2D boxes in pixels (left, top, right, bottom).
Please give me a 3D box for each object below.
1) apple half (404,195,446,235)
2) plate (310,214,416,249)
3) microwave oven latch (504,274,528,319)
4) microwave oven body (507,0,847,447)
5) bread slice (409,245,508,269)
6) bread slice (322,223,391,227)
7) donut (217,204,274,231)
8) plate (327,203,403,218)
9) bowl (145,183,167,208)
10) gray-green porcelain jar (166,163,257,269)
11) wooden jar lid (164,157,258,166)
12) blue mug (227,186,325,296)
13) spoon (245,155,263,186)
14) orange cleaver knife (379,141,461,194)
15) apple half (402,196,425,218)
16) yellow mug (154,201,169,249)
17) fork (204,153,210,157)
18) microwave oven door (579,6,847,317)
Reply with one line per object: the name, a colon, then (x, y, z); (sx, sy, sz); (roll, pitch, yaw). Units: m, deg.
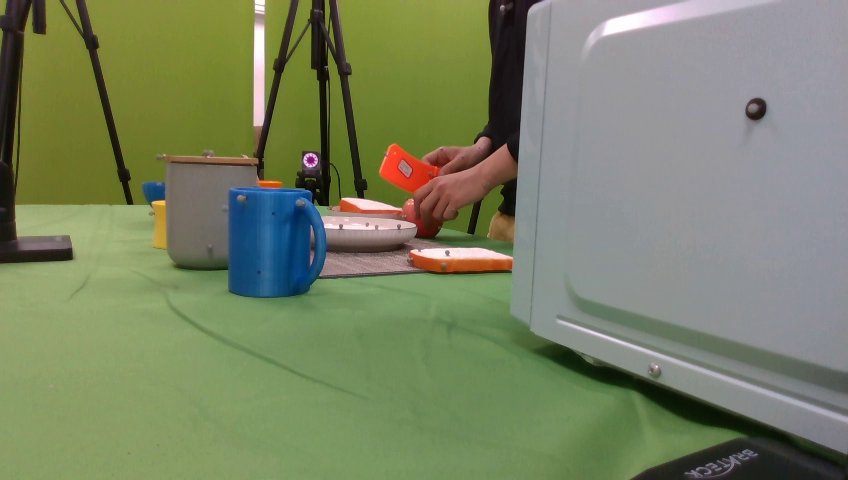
apple half: (0.009, -0.045, 1.136); (0.081, 0.074, 0.053); (-2, 13, -40)
plate: (-0.117, -0.014, 0.967); (0.208, 0.039, 0.207); (2, 7, 0)
microwave oven latch: (0.100, 0.041, 0.470); (0.079, 0.029, 0.030); (-1, 7, -27)
microwave oven body: (0.331, -0.042, 0.425); (0.444, 0.260, 0.324); (-2, 8, -31)
bread slice: (0.048, 0.021, 0.816); (0.132, 0.019, 0.104); (0, 7, -24)
bread slice: (-0.116, -0.014, 0.974); (0.135, 0.018, 0.106); (-5, 11, -42)
donut: (-0.318, -0.038, 1.080); (0.099, 0.048, 0.099); (3, 7, 0)
plate: (-0.102, -0.053, 1.299); (0.209, 0.038, 0.209); (2, 8, 0)
bowl: (-0.459, -0.068, 1.175); (0.151, 0.077, 0.151); (2, 7, 0)
gray-green porcelain jar: (-0.263, -0.031, 0.754); (0.106, 0.126, 0.106); (2, 7, 0)
wooden jar lid: (-0.261, -0.093, 0.746); (0.108, 0.020, 0.108); (0, 9, 0)
blue mug: (-0.146, 0.000, 0.618); (0.116, 0.106, 0.083); (7, 9, 32)
spoon: (-0.421, -0.150, 1.540); (0.042, 0.021, 0.193); (-5, 55, -37)
orange cleaver knife: (-0.003, -0.128, 1.148); (0.012, 0.077, 0.212); (4, -6, 44)
apple half: (-0.017, -0.051, 1.165); (0.082, 0.081, 0.032); (-5, 14, -40)
yellow mug: (-0.337, -0.022, 0.899); (0.130, 0.064, 0.100); (8, 9, 34)
fork: (-0.480, -0.134, 1.411); (0.028, 0.018, 0.207); (1, -35, 0)
microwave oven door: (0.294, -0.067, 0.570); (0.358, 0.243, 0.039); (-3, 9, -31)
